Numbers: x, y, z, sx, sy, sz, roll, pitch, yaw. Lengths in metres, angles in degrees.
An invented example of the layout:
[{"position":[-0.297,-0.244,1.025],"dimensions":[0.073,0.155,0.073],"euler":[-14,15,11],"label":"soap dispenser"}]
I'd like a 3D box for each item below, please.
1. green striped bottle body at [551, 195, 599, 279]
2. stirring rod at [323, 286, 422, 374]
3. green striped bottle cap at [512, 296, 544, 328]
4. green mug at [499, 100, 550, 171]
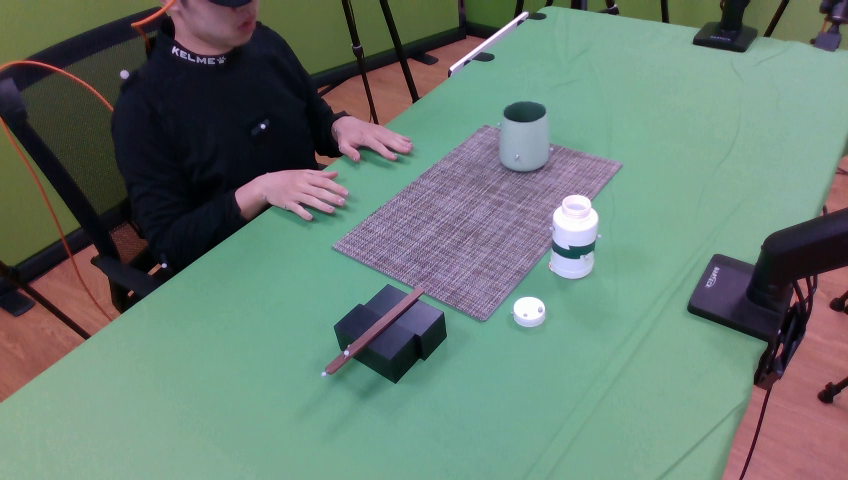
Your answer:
[{"position":[0.217,-0.006,0.870],"dimensions":[0.063,0.120,0.063],"euler":[-4,41,4],"label":"green striped bottle body"},{"position":[-0.063,0.113,0.781],"dimensions":[0.014,0.006,0.177],"euler":[26,50,32],"label":"stirring rod"},{"position":[0.144,0.099,0.837],"dimensions":[0.044,0.020,0.044],"euler":[-1,43,2],"label":"green striped bottle cap"},{"position":[0.183,-0.197,1.101],"dimensions":[0.092,0.105,0.125],"euler":[-1,41,8],"label":"green mug"}]
